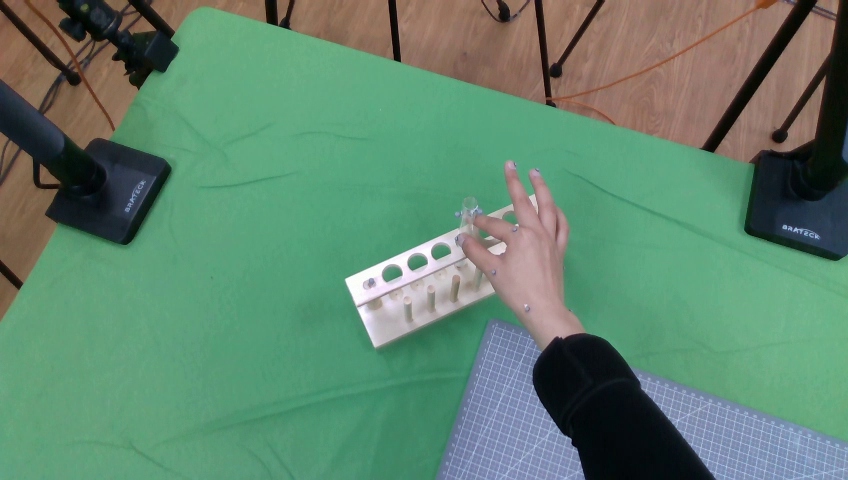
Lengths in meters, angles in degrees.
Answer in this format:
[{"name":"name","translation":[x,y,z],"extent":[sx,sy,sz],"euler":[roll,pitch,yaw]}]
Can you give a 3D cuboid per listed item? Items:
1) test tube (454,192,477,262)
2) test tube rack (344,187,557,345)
[{"name":"test tube","translation":[0.042,-0.010,0.652],"extent":[0.017,0.151,0.017],"euler":[1,65,-1]},{"name":"test tube rack","translation":[0.037,0.031,0.690],"extent":[0.242,0.086,0.066],"euler":[-24,71,-9]}]
